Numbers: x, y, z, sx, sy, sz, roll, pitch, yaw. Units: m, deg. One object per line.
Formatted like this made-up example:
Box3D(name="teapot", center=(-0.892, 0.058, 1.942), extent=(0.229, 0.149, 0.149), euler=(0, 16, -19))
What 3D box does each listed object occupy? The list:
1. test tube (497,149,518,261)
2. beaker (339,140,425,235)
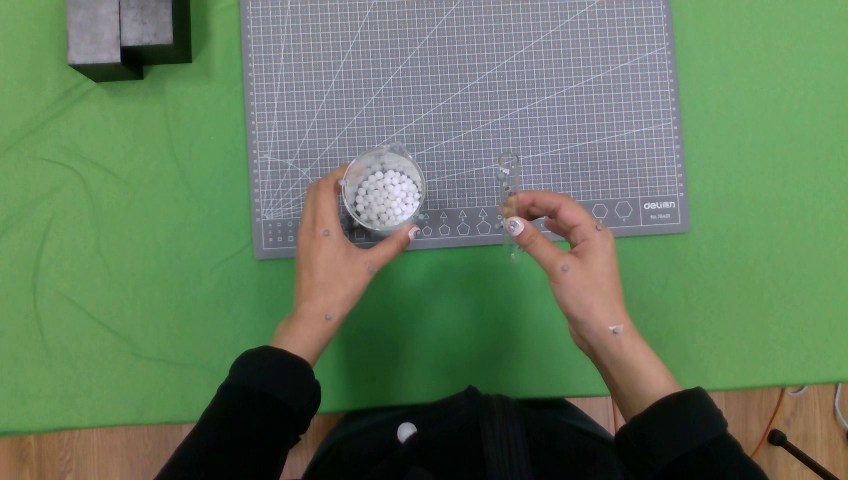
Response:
Box3D(name="test tube", center=(0.070, -0.023, 0.505), extent=(0.017, 0.152, 0.017), euler=(-3, 59, 6))
Box3D(name="beaker", center=(-0.036, -0.046, 0.575), extent=(0.074, 0.100, 0.084), euler=(17, 86, -1))
